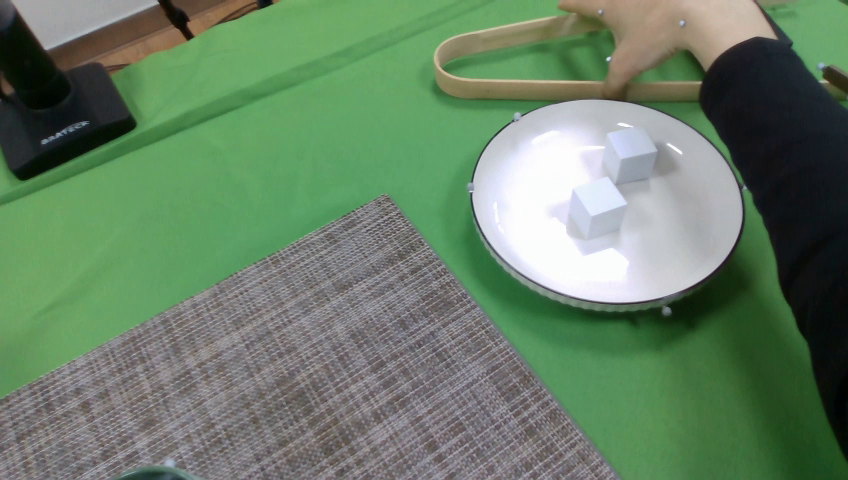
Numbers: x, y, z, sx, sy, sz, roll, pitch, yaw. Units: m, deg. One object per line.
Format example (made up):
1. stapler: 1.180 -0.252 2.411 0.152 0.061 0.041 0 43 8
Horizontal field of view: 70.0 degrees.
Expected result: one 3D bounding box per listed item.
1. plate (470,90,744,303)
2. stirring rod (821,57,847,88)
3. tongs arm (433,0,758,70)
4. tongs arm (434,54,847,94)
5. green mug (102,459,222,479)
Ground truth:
1. plate: 0.141 -0.037 0.488 0.207 0.039 0.205 -2 56 4
2. stirring rod: 0.374 -0.087 0.453 0.006 0.014 0.174 -26 56 -17
3. tongs arm: 0.197 -0.218 0.604 0.385 0.027 0.050 -8 59 -1
4. tongs arm: 0.201 -0.152 0.562 0.387 0.028 0.028 2 63 6
5. green mug: -0.114 0.168 0.326 0.125 0.106 0.091 -10 55 -2
